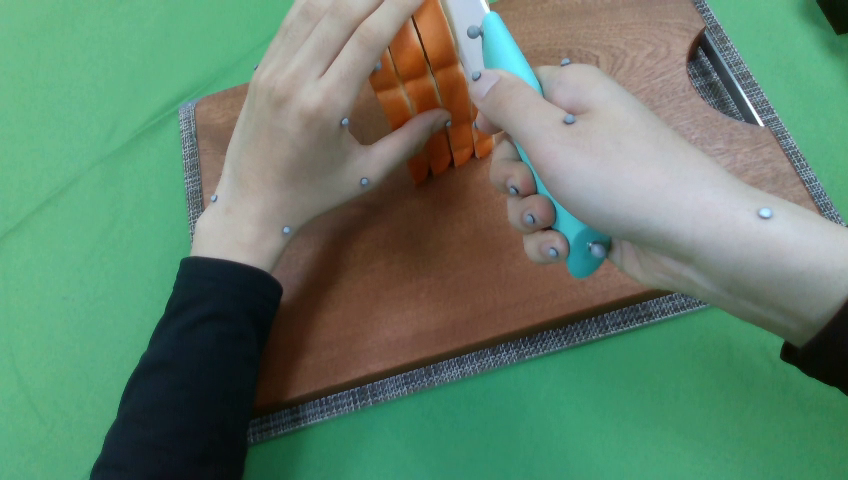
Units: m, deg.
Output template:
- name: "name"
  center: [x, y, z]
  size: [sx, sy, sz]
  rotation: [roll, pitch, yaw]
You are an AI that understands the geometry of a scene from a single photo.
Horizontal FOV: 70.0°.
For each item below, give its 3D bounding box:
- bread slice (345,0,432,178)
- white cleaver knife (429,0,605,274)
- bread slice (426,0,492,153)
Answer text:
- name: "bread slice"
  center: [-0.027, -0.120, 0.400]
  size: [0.018, 0.135, 0.106]
  rotation: [-20, 61, 4]
- name: "white cleaver knife"
  center: [0.026, -0.113, 0.322]
  size: [0.021, 0.066, 0.284]
  rotation: [-17, 73, -9]
- name: "bread slice"
  center: [0.023, -0.135, 0.398]
  size: [0.019, 0.132, 0.104]
  rotation: [-16, 65, -3]
